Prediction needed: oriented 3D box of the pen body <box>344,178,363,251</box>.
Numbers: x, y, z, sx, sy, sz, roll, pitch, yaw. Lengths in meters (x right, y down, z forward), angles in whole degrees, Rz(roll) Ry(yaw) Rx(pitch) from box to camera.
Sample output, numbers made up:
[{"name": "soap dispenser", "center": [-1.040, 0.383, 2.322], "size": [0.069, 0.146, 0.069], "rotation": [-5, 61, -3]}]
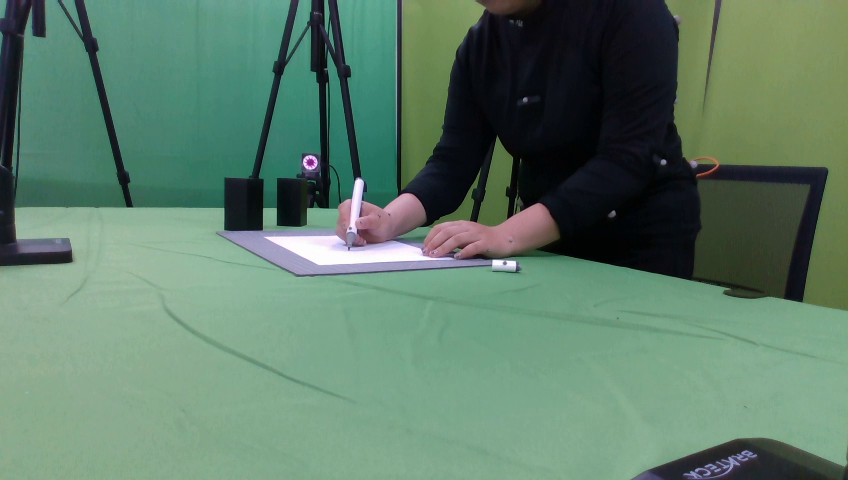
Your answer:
[{"name": "pen body", "center": [-0.113, -0.041, 0.969], "size": [0.017, 0.144, 0.017], "rotation": [3, -36, 3]}]

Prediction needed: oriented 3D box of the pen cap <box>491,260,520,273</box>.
[{"name": "pen cap", "center": [0.110, 0.036, 0.813], "size": [0.038, 0.017, 0.017], "rotation": [3, 7, 7]}]
